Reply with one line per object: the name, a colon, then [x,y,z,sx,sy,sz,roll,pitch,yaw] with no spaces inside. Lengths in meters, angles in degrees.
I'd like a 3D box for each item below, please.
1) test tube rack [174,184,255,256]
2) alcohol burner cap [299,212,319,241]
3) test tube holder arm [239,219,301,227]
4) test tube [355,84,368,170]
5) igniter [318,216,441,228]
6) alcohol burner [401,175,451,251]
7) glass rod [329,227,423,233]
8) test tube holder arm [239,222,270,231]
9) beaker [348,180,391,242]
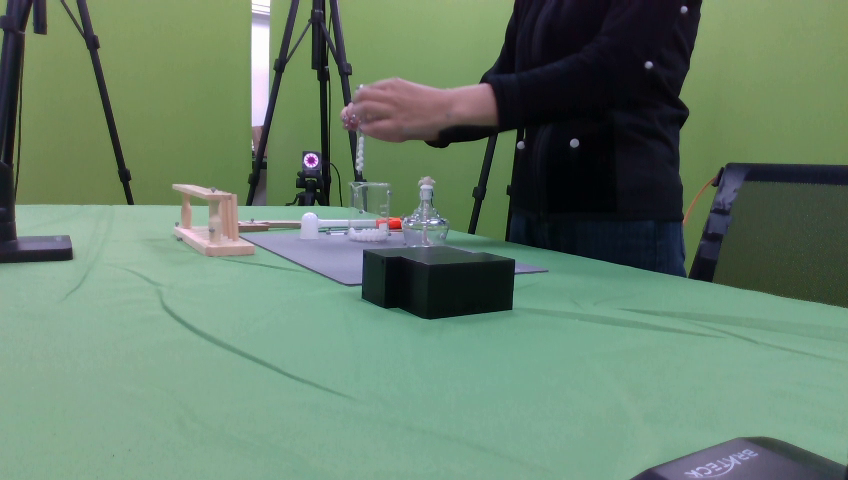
test tube rack: [-0.327,-0.036,0.928,0.067,0.085,0.241,-2,9,-32]
alcohol burner cap: [-0.195,-0.025,1.025,0.034,0.048,0.034,3,7,0]
test tube holder arm: [-0.296,-0.030,1.137,0.179,0.015,0.013,-6,45,-50]
test tube: [-0.107,-0.189,1.030,0.017,0.150,0.017,5,28,-2]
igniter: [-0.090,-0.035,1.222,0.278,0.025,0.057,-2,-2,-31]
alcohol burner: [0.003,-0.042,0.947,0.078,0.119,0.078,1,9,0]
glass rod: [-0.087,-0.019,1.148,0.201,0.008,0.008,-2,8,-32]
test tube holder arm: [-0.322,-0.024,1.100,0.088,0.015,0.010,-4,43,-49]
beaker: [-0.095,-0.050,1.027,0.074,0.100,0.084,5,10,25]
